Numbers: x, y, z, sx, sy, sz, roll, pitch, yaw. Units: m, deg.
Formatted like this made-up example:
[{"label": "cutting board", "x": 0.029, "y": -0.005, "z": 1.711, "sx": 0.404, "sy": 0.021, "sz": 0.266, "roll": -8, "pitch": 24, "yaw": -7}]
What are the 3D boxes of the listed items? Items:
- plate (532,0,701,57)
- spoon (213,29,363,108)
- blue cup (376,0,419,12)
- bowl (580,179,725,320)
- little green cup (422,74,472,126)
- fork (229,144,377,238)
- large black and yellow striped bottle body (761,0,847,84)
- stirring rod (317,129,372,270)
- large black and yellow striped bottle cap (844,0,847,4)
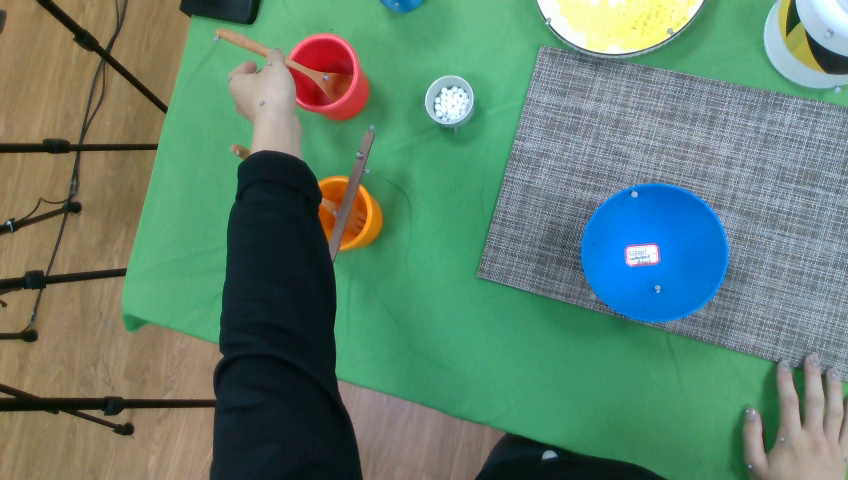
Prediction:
[{"label": "plate", "x": 0.231, "y": -0.320, "z": 0.733, "sx": 0.209, "sy": 0.038, "sz": 0.209, "roll": -1, "pitch": 87, "yaw": 11}, {"label": "spoon", "x": -0.164, "y": -0.217, "z": 0.754, "sx": 0.195, "sy": 0.021, "sz": 0.041, "roll": 20, "pitch": 93, "yaw": -32}, {"label": "blue cup", "x": -0.041, "y": -0.335, "z": 0.756, "sx": 0.092, "sy": 0.100, "sz": 0.092, "roll": -1, "pitch": 87, "yaw": 14}, {"label": "bowl", "x": 0.251, "y": 0.013, "z": 0.686, "sx": 0.151, "sy": 0.077, "sz": 0.151, "roll": -1, "pitch": 87, "yaw": 12}, {"label": "little green cup", "x": 0.032, "y": -0.173, "z": 0.765, "sx": 0.061, "sy": 0.039, "sz": 0.061, "roll": -1, "pitch": 87, "yaw": 13}, {"label": "fork", "x": -0.143, "y": -0.059, "z": 0.738, "sx": 0.209, "sy": 0.018, "sz": 0.028, "roll": 32, "pitch": 96, "yaw": -32}, {"label": "large black and yellow striped bottle body", "x": 0.438, "y": -0.247, "z": 0.612, "sx": 0.130, "sy": 0.184, "sz": 0.130, "roll": -1, "pitch": 86, "yaw": 12}, {"label": "stirring rod", "x": -0.095, "y": -0.049, "z": 0.725, "sx": 0.014, "sy": 0.006, "sz": 0.176, "roll": 19, "pitch": 91, "yaw": 10}, {"label": "large black and yellow striped bottle cap", "x": 0.421, "y": -0.251, "z": 0.530, "sx": 0.115, "sy": 0.019, "sz": 0.115, "roll": -1, "pitch": 86, "yaw": 13}]
